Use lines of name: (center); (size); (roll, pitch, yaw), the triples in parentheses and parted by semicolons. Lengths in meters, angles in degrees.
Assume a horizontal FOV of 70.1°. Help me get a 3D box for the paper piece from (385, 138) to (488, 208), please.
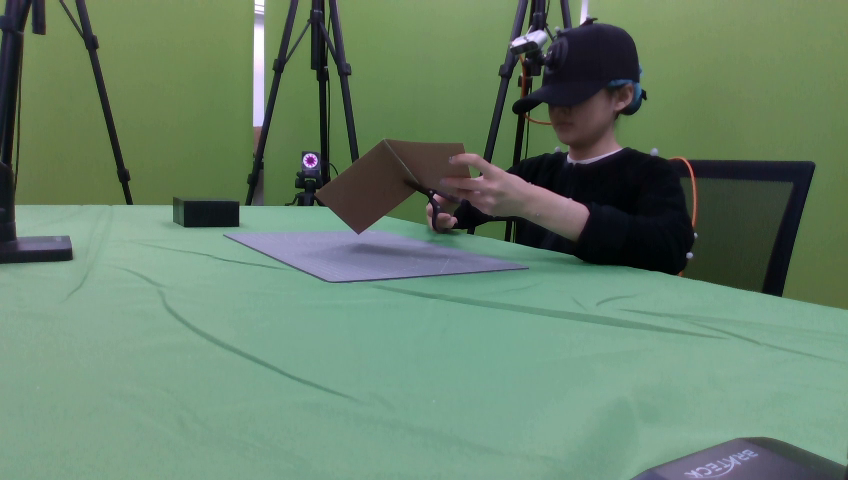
paper piece: (0.019, -0.100, 0.913); (0.135, 0.004, 0.136); (13, -29, 33)

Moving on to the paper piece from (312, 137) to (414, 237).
paper piece: (-0.088, -0.078, 0.954); (0.136, 0.138, 0.008); (48, 5, -49)

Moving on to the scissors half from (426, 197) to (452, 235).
scissors half: (0.008, -0.064, 1.026); (0.013, 0.040, 0.176); (16, -29, 37)

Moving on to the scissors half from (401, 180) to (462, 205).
scissors half: (0.018, -0.086, 1.029); (0.012, 0.040, 0.176); (21, 10, 38)
